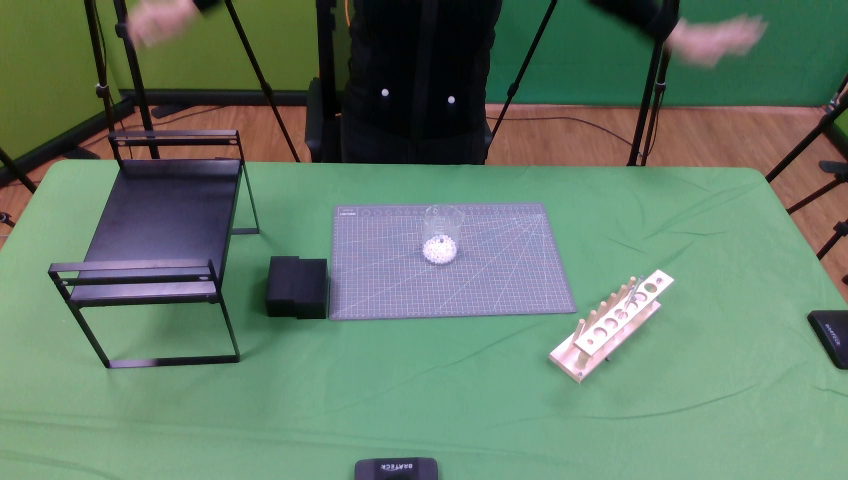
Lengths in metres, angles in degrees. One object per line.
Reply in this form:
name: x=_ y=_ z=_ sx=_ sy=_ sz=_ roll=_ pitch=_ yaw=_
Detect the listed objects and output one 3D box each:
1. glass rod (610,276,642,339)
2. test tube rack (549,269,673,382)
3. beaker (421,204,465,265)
glass rod: x=0.322 y=0.113 z=0.976 sx=0.008 sy=0.201 sz=0.008 roll=-1 pitch=54 yaw=1
test tube rack: x=0.325 y=0.134 z=1.047 sx=0.242 sy=0.085 sz=0.066 roll=-32 pitch=56 yaw=-30
beaker: x=0.034 y=-0.008 z=1.151 sx=0.084 sy=0.101 sz=0.073 roll=-10 pitch=48 yaw=-13
